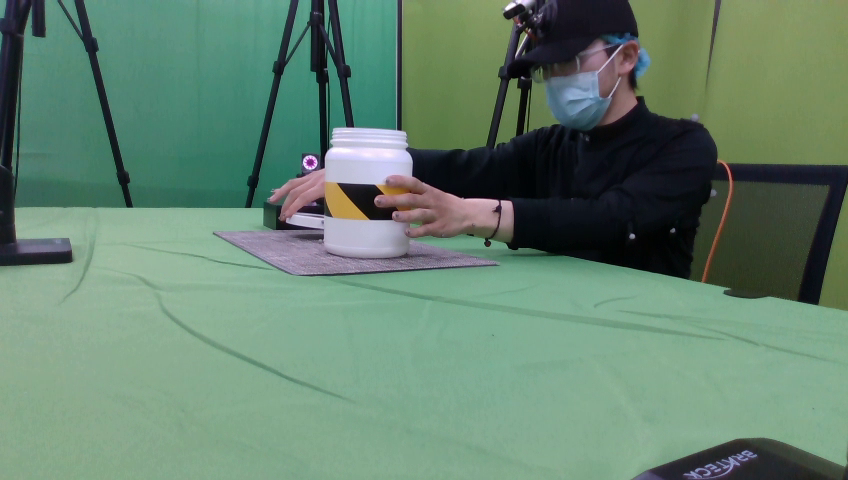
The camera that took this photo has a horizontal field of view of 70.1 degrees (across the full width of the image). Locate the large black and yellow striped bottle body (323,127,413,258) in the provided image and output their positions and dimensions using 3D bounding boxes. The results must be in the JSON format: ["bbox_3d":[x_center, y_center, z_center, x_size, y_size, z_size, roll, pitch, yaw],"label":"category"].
[{"bbox_3d":[-0.083,-0.073,0.899,0.131,0.184,0.130,2,8,0],"label":"large black and yellow striped bottle body"}]

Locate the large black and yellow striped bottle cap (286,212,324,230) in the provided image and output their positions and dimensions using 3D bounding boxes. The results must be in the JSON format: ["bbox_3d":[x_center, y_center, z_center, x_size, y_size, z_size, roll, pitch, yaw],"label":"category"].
[{"bbox_3d":[-0.185,-0.033,1.070,0.115,0.019,0.115,7,6,0],"label":"large black and yellow striped bottle cap"}]
